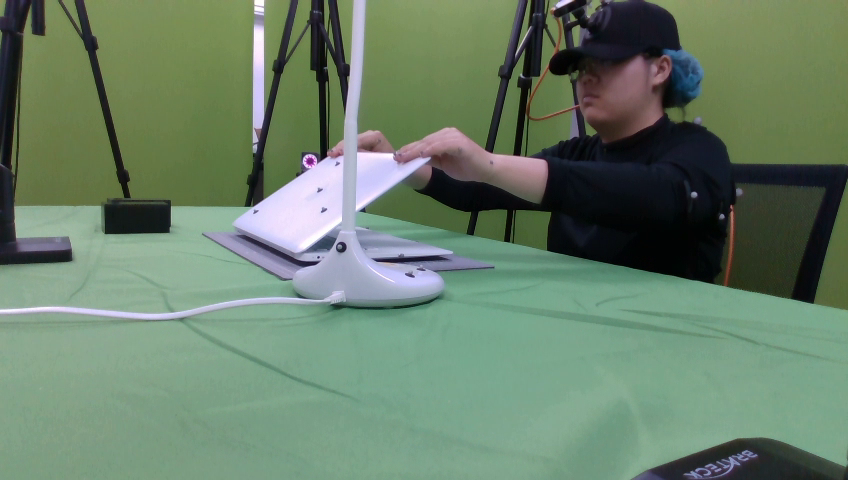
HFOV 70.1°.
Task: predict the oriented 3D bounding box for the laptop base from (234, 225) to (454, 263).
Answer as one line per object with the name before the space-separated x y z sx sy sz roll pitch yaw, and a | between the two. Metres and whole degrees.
laptop base | -0.143 0.004 0.957 0.237 0.023 0.352 2 7 -32

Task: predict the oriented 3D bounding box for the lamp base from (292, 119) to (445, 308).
lamp base | -0.056 -0.030 0.616 0.160 0.180 0.179 4 10 8

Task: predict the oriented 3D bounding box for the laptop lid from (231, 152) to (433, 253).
laptop lid | -0.159 -0.074 0.935 0.242 0.013 0.355 -37 25 -19
